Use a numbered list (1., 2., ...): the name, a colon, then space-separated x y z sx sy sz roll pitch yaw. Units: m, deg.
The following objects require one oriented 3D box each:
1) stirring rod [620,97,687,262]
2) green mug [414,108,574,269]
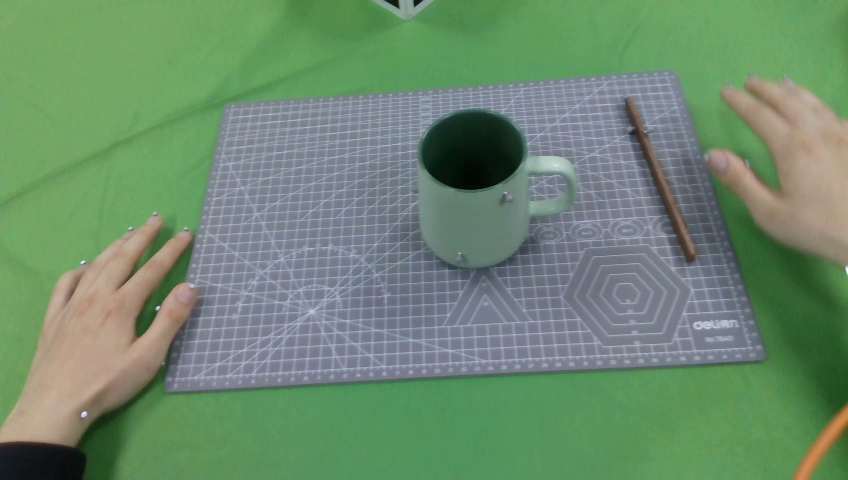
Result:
1. stirring rod: 0.196 -0.058 0.523 0.006 0.014 0.174 -4 58 -4
2. green mug: 0.053 -0.038 0.472 0.125 0.106 0.091 -2 58 4
